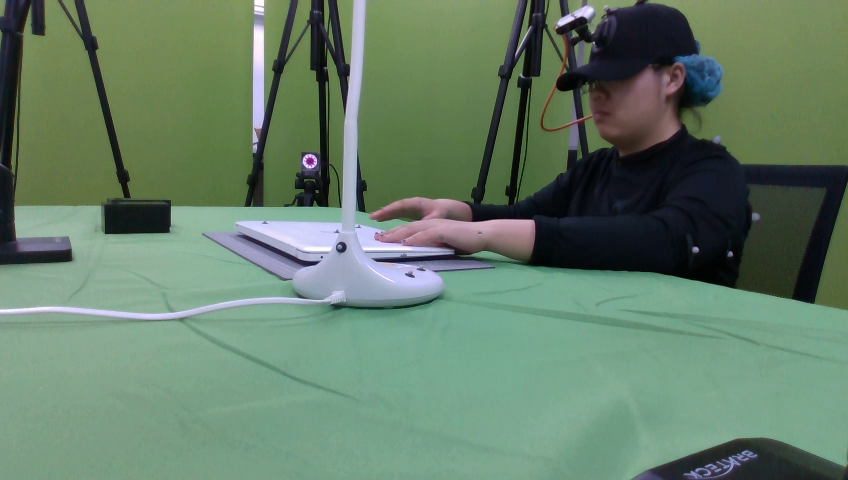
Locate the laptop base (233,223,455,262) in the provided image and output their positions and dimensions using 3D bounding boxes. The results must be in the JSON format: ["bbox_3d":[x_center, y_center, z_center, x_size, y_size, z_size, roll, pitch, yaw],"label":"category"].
[{"bbox_3d":[-0.141,0.003,0.959,0.237,0.023,0.352,2,6,-32],"label":"laptop base"}]

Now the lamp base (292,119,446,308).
[{"bbox_3d":[-0.056,-0.030,0.616,0.160,0.180,0.179,4,10,8],"label":"lamp base"}]

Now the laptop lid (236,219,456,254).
[{"bbox_3d":[-0.139,-0.008,0.959,0.243,0.013,0.355,1,7,-30],"label":"laptop lid"}]
